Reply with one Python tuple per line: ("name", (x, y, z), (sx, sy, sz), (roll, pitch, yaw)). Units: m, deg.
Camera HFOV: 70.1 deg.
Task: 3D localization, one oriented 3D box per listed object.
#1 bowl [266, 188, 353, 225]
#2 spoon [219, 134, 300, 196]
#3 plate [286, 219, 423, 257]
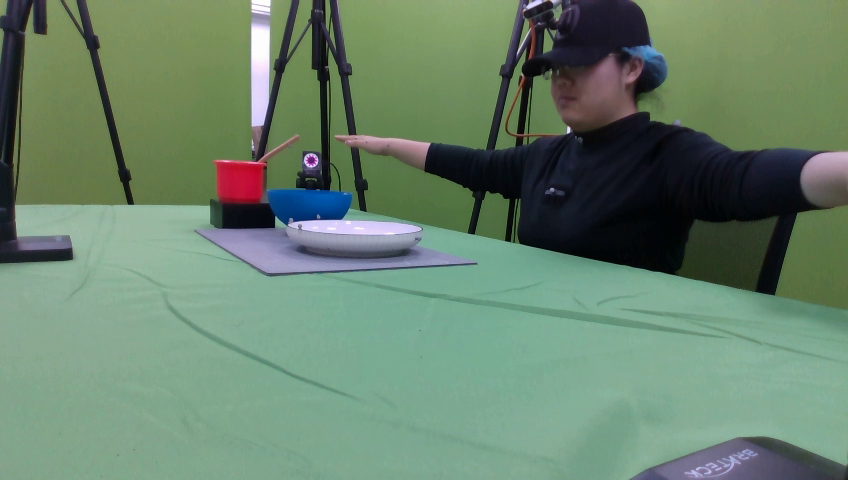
("bowl", (-0.204, -0.049, 1.080), (0.151, 0.077, 0.151), (3, 7, 0))
("spoon", (-0.317, -0.146, 1.171), (0.194, 0.022, 0.041), (-46, 21, -14))
("plate", (-0.105, -0.004, 0.923), (0.208, 0.039, 0.207), (3, 7, 0))
